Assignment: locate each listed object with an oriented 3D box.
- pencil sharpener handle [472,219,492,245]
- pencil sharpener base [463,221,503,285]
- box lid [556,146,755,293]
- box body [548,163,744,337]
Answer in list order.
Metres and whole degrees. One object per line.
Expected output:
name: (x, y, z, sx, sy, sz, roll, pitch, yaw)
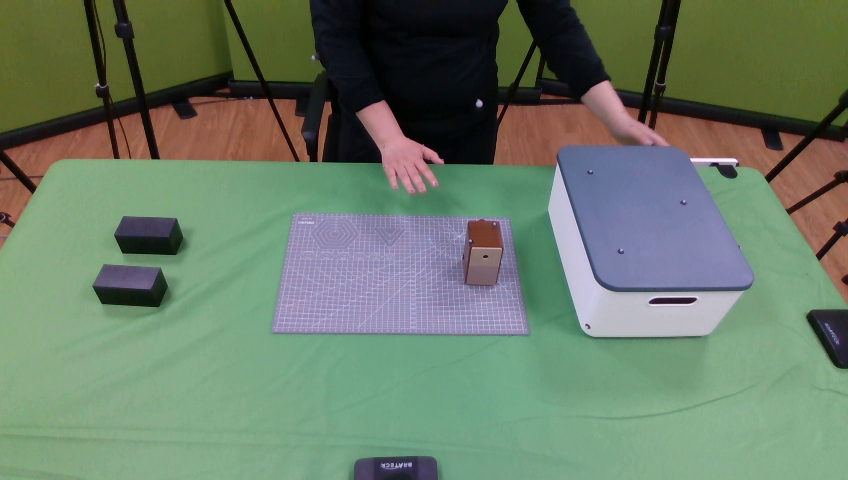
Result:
pencil sharpener handle: (0.104, -0.021, 1.145, 0.036, 0.068, 0.030, 7, 44, -8)
pencil sharpener base: (0.107, 0.024, 1.119, 0.061, 0.107, 0.076, 1, 45, -2)
box lid: (0.394, -0.051, 1.075, 0.263, 0.015, 0.369, 0, 46, -4)
box body: (0.391, -0.001, 1.130, 0.254, 0.161, 0.361, -1, 46, -4)
